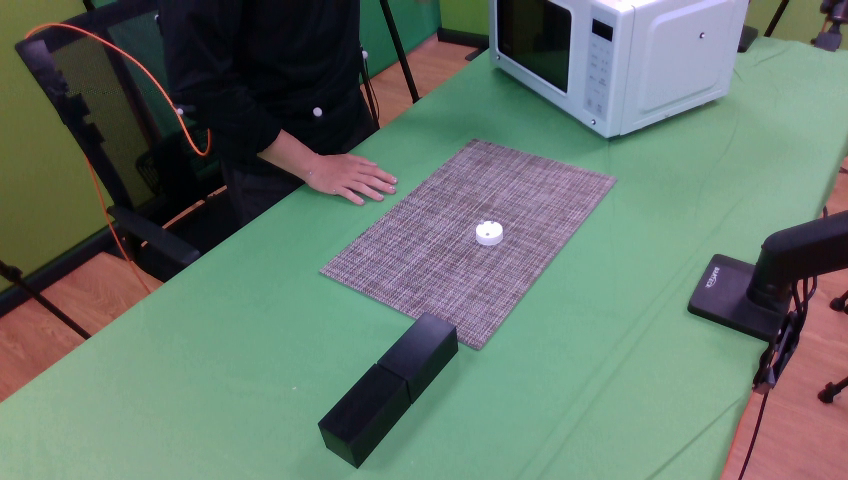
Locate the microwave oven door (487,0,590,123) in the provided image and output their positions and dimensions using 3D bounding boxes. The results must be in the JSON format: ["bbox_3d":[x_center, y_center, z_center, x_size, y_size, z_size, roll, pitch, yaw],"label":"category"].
[{"bbox_3d":[0.232,-0.420,1.230,0.039,0.245,0.352,-22,43,-16],"label":"microwave oven door"}]

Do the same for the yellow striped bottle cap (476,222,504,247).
[{"bbox_3d":[0.105,-0.010,0.966,0.044,0.019,0.044,-3,39,3],"label":"yellow striped bottle cap"}]

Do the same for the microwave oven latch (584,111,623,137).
[{"bbox_3d":[0.337,-0.222,1.142,0.030,0.029,0.078,-21,42,-14],"label":"microwave oven latch"}]

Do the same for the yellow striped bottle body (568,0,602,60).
[{"bbox_3d":[0.338,-0.448,1.268,0.063,0.121,0.062,-4,43,4],"label":"yellow striped bottle body"}]

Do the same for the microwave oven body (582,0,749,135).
[{"bbox_3d":[0.382,-0.444,1.246,0.327,0.261,0.437,-22,42,-16],"label":"microwave oven body"}]
